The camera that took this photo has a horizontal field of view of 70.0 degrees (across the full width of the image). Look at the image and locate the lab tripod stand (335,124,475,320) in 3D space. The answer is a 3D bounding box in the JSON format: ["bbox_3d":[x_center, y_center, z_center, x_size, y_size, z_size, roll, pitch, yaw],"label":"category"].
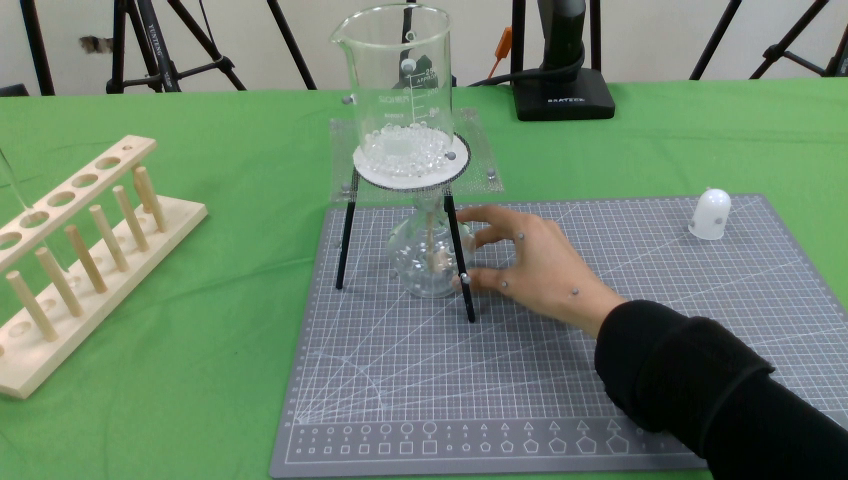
[{"bbox_3d":[-0.009,-0.016,0.501,0.148,0.133,0.147,-2,42,2],"label":"lab tripod stand"}]

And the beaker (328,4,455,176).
[{"bbox_3d":[-0.019,-0.103,0.426,0.084,0.101,0.073,-6,40,-2],"label":"beaker"}]

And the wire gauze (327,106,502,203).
[{"bbox_3d":[-0.012,-0.066,0.458,0.125,0.011,0.120,-7,39,-1],"label":"wire gauze"}]

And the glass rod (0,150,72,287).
[{"bbox_3d":[-0.328,-0.042,0.488,0.008,0.201,0.008,-5,34,4],"label":"glass rod"}]

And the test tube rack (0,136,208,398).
[{"bbox_3d":[-0.298,0.009,0.529,0.066,0.086,0.241,12,42,16],"label":"test tube rack"}]

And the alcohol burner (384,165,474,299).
[{"bbox_3d":[0.003,-0.009,0.508,0.078,0.120,0.077,-2,39,2],"label":"alcohol burner"}]

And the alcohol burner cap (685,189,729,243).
[{"bbox_3d":[0.267,-0.025,0.568,0.034,0.048,0.033,-2,40,2],"label":"alcohol burner cap"}]
